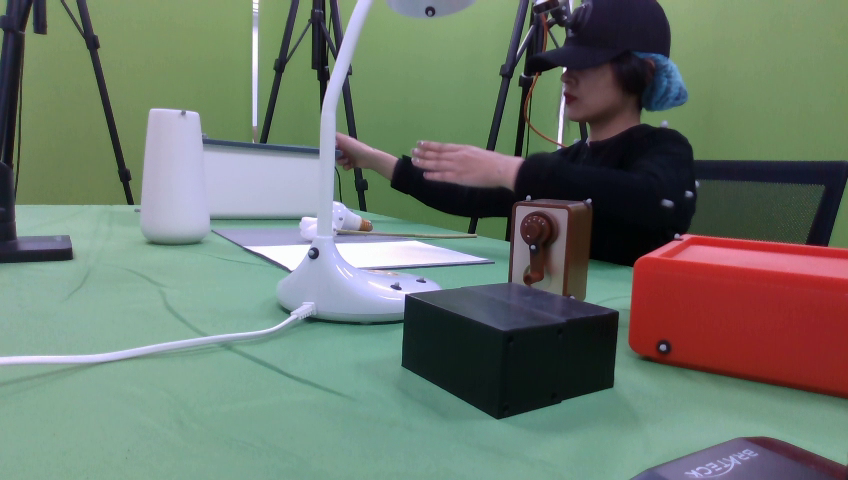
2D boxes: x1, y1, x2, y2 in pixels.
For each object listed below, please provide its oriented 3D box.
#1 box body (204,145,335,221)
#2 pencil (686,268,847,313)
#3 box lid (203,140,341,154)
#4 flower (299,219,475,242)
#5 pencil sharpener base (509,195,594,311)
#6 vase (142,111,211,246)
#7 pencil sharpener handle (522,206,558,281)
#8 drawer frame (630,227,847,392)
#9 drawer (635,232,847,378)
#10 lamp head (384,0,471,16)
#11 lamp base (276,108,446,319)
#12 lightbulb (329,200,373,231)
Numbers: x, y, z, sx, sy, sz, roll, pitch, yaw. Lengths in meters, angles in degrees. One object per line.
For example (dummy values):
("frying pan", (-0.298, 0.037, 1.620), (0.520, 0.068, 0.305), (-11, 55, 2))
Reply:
("box body", (-0.411, -0.135, 1.386), (0.366, 0.160, 0.253), (-2, 9, -29))
("pencil", (0.308, 0.045, 0.516), (0.194, 0.012, 0.012), (13, 5, -12))
("box lid", (-0.396, -0.212, 1.373), (0.373, 0.015, 0.262), (-1, 9, -29))
("flower", (-0.049, -0.010, 1.081), (0.364, 0.038, 0.044), (2, 36, -36))
("pencil sharpener base", (0.126, 0.011, 0.601), (0.061, 0.107, 0.077), (7, 9, 30))
("vase", (-0.378, -0.093, 0.920), (0.098, 0.200, 0.098), (2, 9, 0))
("pencil sharpener handle", (0.101, 0.003, 0.555), (0.036, 0.067, 0.031), (0, 5, 31))
("drawer frame", (0.292, 0.043, 0.484), (0.201, 0.082, 0.214), (7, 9, 29))
("drawer", (0.292, 0.044, 0.488), (0.193, 0.073, 0.213), (7, 9, 30))
("lamp head", (-0.001, -0.301, 0.599), (0.112, 0.112, 0.123), (4, -30, 14))
("lamp base", (-0.061, -0.027, 0.556), (0.160, 0.180, 0.180), (5, 10, 20))
("lightbulb", (-0.143, -0.036, 1.108), (0.108, 0.059, 0.059), (16, 0, -28))
